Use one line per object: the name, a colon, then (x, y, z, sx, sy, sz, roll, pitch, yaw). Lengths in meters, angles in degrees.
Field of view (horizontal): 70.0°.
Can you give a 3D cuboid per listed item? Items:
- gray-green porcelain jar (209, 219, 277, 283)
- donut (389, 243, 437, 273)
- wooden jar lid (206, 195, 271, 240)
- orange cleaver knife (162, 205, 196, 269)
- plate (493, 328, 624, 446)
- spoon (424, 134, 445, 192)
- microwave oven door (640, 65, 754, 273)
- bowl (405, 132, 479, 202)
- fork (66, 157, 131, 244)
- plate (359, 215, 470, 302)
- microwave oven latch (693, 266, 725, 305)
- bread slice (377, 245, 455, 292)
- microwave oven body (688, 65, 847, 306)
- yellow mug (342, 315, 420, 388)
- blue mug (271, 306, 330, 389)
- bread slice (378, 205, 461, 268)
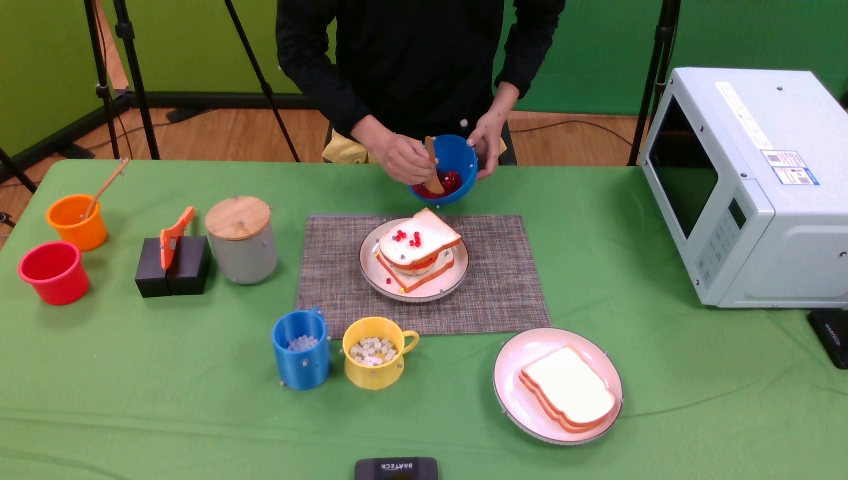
gray-green porcelain jar: (-0.323, 0.007, 1.092, 0.106, 0.127, 0.105, 2, 46, -2)
donut: (-0.023, 0.018, 1.120, 0.099, 0.048, 0.098, -10, 48, 11)
wooden jar lid: (-0.319, -0.036, 1.046, 0.108, 0.021, 0.107, 1, 44, 0)
orange cleaver knife: (-0.454, -0.010, 1.129, 0.012, 0.077, 0.210, -2, 20, -5)
plate: (0.213, 0.236, 0.974, 0.208, 0.039, 0.206, 2, 46, -2)
spoon: (0.015, -0.134, 1.078, 0.041, 0.194, 0.021, 20, 66, 14)
microwave oven door: (0.523, -0.147, 1.193, 0.039, 0.245, 0.353, 0, 47, -3)
bowl: (0.046, -0.132, 1.214, 0.151, 0.077, 0.150, -10, 62, 20)
fork: (-0.608, -0.074, 1.132, 0.207, 0.019, 0.028, -52, 48, 10)
plate: (-0.019, 0.038, 1.140, 0.209, 0.038, 0.208, 2, 46, -2)
microwave oven latch: (0.523, 0.081, 1.115, 0.030, 0.029, 0.078, 3, 46, 0)
bread slice: (-0.010, 0.033, 1.150, 0.131, 0.019, 0.104, -28, 56, -23)
microwave oven body: (0.669, -0.111, 1.176, 0.326, 0.261, 0.439, 0, 46, -3)
yellow mug: (-0.068, 0.177, 0.990, 0.131, 0.064, 0.099, -15, 50, -19)
blue mug: (-0.188, 0.163, 0.969, 0.082, 0.106, 0.116, 15, 47, 10)
bread slice: (-0.013, -0.002, 1.097, 0.134, 0.018, 0.106, -34, 50, -22)
